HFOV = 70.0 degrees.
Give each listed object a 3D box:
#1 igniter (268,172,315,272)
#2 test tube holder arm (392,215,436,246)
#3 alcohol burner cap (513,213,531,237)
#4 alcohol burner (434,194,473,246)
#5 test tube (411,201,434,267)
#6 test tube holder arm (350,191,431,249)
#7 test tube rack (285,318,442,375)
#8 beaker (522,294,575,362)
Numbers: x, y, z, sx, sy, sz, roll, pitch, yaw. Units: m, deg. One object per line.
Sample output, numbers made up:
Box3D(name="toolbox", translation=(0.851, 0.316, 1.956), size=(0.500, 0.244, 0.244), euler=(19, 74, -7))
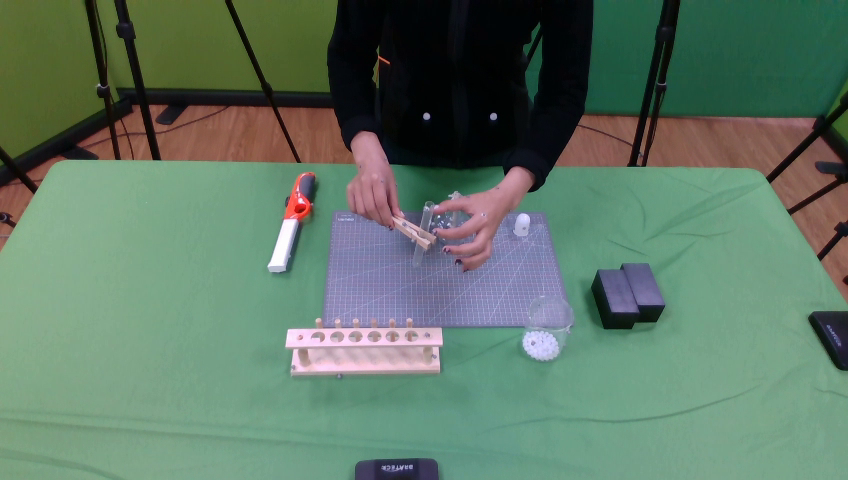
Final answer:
Box3D(name="igniter", translation=(-0.263, -0.045, 1.219), size=(0.057, 0.025, 0.275), euler=(-2, 45, 8))
Box3D(name="test tube holder arm", translation=(-0.020, -0.017, 0.992), size=(0.087, 0.015, 0.010), euler=(28, 41, 19))
Box3D(name="alcohol burner cap", translation=(0.200, -0.033, 1.227), size=(0.034, 0.048, 0.033), euler=(1, 45, -1))
Box3D(name="alcohol burner", translation=(0.059, -0.046, 1.179), size=(0.078, 0.120, 0.077), euler=(1, 48, -1))
Box3D(name="test tube", translation=(-0.003, -0.006, 0.978), size=(0.017, 0.151, 0.017), euler=(6, 48, -7))
Box3D(name="test tube holder arm", translation=(-0.058, -0.036, 1.006), size=(0.177, 0.015, 0.013), euler=(33, 43, 24))
Box3D(name="test tube rack", translation=(-0.095, 0.168, 0.986), size=(0.242, 0.085, 0.066), euler=(0, 46, -4))
Box3D(name="beaker", translation=(0.203, 0.152, 1.013), size=(0.084, 0.101, 0.073), euler=(-28, 53, -26))
